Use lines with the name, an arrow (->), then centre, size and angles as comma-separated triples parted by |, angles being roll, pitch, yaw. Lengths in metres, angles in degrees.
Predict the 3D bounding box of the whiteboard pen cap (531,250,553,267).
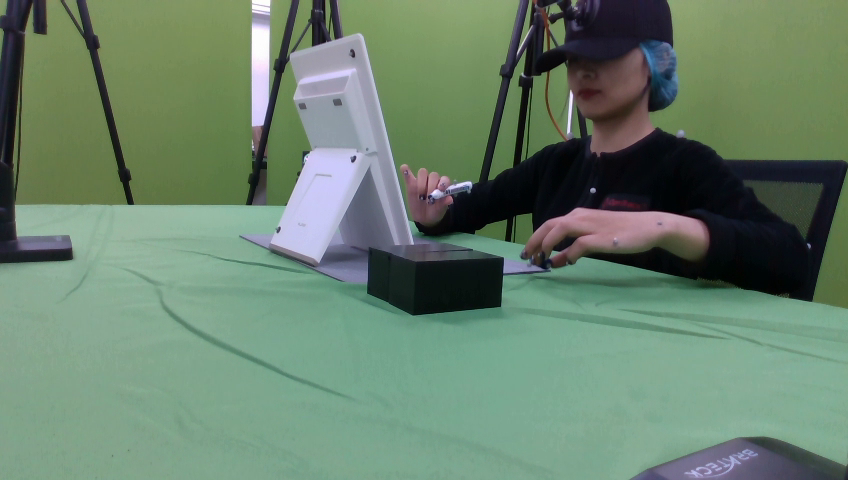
whiteboard pen cap -> 0.150, 0.023, 0.772 | 0.018, 0.018, 0.033 | 0, 11, -17

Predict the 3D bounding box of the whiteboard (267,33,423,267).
whiteboard -> -0.153, -0.098, 0.819 | 0.144, 0.305, 0.216 | -25, 21, -29

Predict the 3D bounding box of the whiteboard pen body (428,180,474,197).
whiteboard pen body -> 0.045, -0.084, 0.996 | 0.017, 0.017, 0.141 | 6, 15, 32
